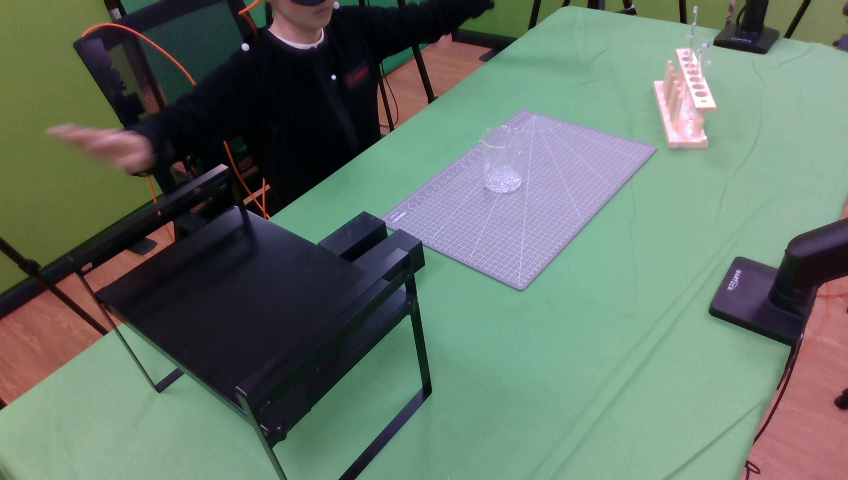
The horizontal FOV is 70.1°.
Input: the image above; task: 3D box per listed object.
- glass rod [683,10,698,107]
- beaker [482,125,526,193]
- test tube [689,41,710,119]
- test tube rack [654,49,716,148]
[{"bbox_3d":[0.501,-0.336,1.139,0.008,0.201,0.008,-8,43,8],"label":"glass rod"},{"bbox_3d":[0.141,-0.141,1.055,0.073,0.101,0.084,10,43,20],"label":"beaker"},{"bbox_3d":[0.506,-0.291,1.112,0.017,0.151,0.017,-5,38,4],"label":"test tube"},{"bbox_3d":[0.502,-0.281,1.176,0.066,0.085,0.241,2,41,11],"label":"test tube rack"}]
